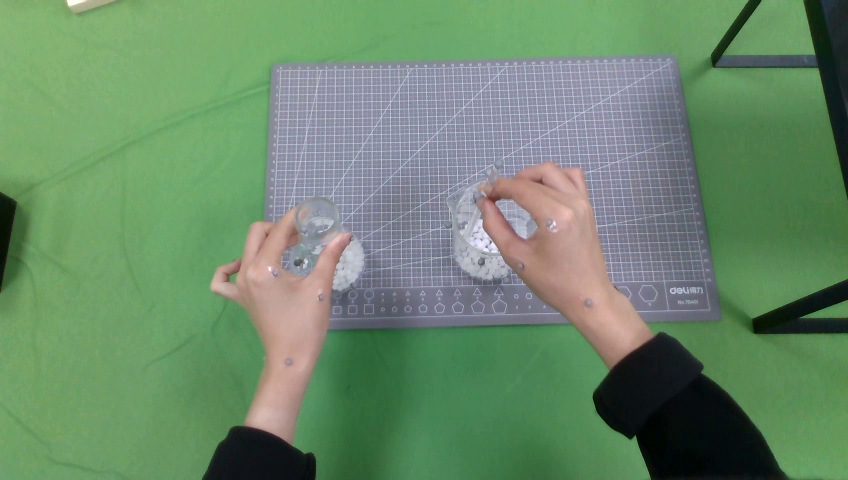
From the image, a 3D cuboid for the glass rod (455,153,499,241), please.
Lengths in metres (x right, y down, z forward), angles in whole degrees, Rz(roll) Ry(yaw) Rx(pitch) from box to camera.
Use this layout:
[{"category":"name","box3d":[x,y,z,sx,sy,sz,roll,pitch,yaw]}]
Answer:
[{"category":"glass rod","box3d":[0.041,-0.030,0.506,0.008,0.200,0.008,1,74,-4]}]

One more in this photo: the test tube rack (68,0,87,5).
[{"category":"test tube rack","box3d":[-0.306,-0.355,0.676,0.242,0.085,0.066,-22,74,-6]}]

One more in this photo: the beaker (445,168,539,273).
[{"category":"beaker","box3d":[0.058,-0.014,0.565,0.084,0.101,0.073,22,74,8]}]

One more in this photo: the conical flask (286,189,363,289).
[{"category":"conical flask","box3d":[-0.093,-0.006,0.548,0.075,0.122,0.075,2,70,-4]}]
